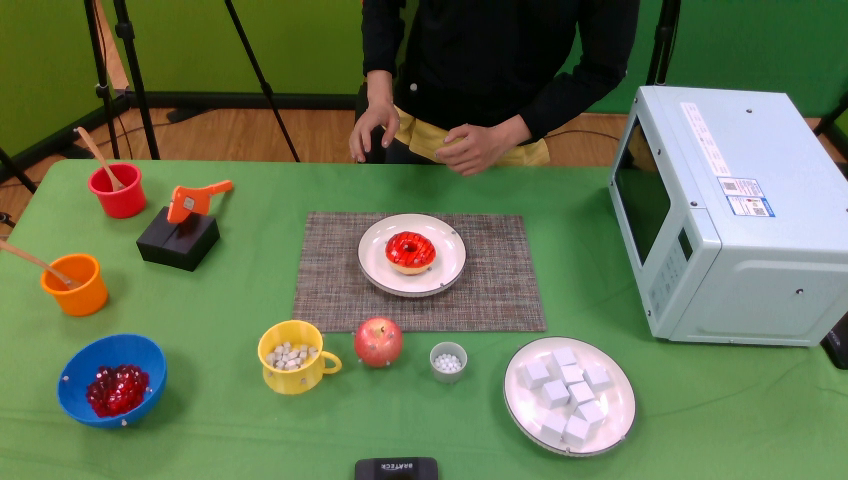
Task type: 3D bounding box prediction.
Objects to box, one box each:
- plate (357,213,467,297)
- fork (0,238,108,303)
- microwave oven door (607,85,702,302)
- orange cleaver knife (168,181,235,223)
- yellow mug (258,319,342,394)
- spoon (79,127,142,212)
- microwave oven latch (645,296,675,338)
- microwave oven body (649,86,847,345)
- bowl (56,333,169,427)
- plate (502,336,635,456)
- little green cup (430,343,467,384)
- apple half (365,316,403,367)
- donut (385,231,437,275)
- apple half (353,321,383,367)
[{"bbox_3d":[-0.023,0.032,1.150,0.209,0.038,0.208,2,46,-2],"label":"plate"},{"bbox_3d":[-0.633,0.048,1.017,0.208,0.018,0.028,40,41,-27],"label":"fork"},{"bbox_3d":[0.423,-0.094,1.140,0.039,0.245,0.353,2,46,-1],"label":"microwave oven door"},{"bbox_3d":[-0.436,-0.078,1.196,0.012,0.077,0.211,16,15,10],"label":"orange cleaver knife"},{"bbox_3d":[-0.195,0.188,0.972,0.131,0.064,0.099,9,47,4],"label":"yellow mug"},{"bbox_3d":[-0.624,-0.140,1.203,0.041,0.021,0.194,-33,100,-26],"label":"spoon"},{"bbox_3d":[0.412,0.134,1.061,0.030,0.029,0.078,3,45,0],"label":"microwave oven latch"},{"bbox_3d":[0.567,-0.053,1.118,0.326,0.261,0.439,2,45,-1],"label":"microwave oven body"},{"bbox_3d":[-0.456,0.223,0.912,0.151,0.077,0.150,3,45,-2],"label":"bowl"},{"bbox_3d":[0.225,0.248,0.963,0.208,0.039,0.206,2,46,-2],"label":"plate"},{"bbox_3d":[0.039,0.203,0.993,0.061,0.039,0.061,2,46,-2],"label":"little green cup"},{"bbox_3d":[-0.063,0.165,1.000,0.053,0.075,0.080,-16,45,-24],"label":"apple half"},{"bbox_3d":[-0.025,0.024,1.141,0.099,0.048,0.098,3,44,-3],"label":"donut"},{"bbox_3d":[-0.097,0.177,0.984,0.033,0.081,0.081,-17,49,-25],"label":"apple half"}]
